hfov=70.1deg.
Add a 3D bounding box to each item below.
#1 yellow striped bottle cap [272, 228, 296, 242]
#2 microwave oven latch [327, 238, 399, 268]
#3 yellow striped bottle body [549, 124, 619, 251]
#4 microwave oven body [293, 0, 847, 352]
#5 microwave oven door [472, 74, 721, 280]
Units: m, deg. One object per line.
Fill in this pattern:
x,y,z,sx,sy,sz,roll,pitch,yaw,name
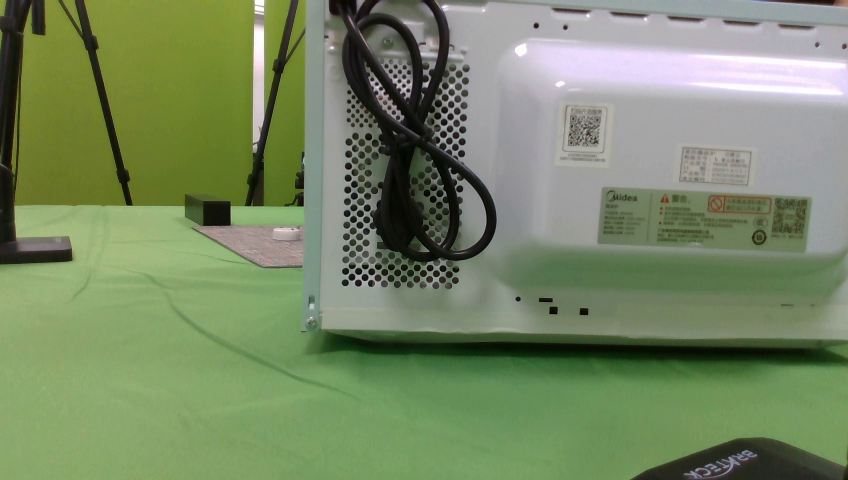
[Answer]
-0.232,-0.008,1.012,0.044,0.018,0.044,4,8,0,yellow striped bottle cap
-0.070,0.015,0.694,0.079,0.029,0.030,3,7,-3,microwave oven latch
0.156,-0.050,0.588,0.063,0.120,0.063,2,1,0,yellow striped bottle body
0.122,-0.055,0.550,0.442,0.260,0.325,3,7,-5,microwave oven body
0.212,-0.093,0.834,0.039,0.243,0.354,-5,10,-43,microwave oven door
